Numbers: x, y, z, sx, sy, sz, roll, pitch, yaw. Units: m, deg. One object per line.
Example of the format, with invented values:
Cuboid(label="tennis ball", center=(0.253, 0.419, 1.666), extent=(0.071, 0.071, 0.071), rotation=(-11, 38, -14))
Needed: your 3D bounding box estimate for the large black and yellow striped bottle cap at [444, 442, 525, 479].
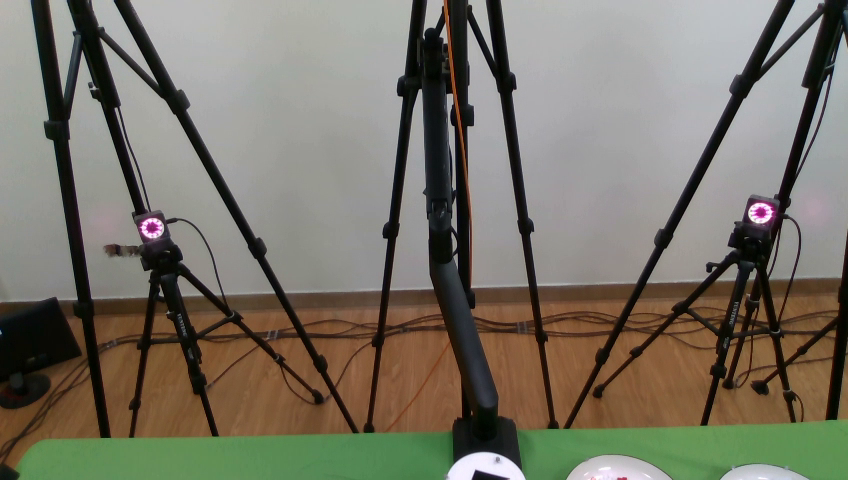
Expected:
Cuboid(label="large black and yellow striped bottle cap", center=(0.084, 0.336, 0.850), extent=(0.115, 0.019, 0.114), rotation=(-1, 35, 1))

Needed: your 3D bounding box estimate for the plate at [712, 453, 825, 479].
Cuboid(label="plate", center=(0.561, 0.434, 0.955), extent=(0.207, 0.039, 0.205), rotation=(-2, 33, 2))

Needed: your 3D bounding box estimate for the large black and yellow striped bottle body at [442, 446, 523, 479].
Cuboid(label="large black and yellow striped bottle body", center=(0.087, 0.407, 0.896), extent=(0.131, 0.185, 0.129), rotation=(-2, 33, 2))

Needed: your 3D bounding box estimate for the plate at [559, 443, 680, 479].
Cuboid(label="plate", center=(0.321, 0.426, 0.983), extent=(0.209, 0.038, 0.207), rotation=(-2, 33, 2))
